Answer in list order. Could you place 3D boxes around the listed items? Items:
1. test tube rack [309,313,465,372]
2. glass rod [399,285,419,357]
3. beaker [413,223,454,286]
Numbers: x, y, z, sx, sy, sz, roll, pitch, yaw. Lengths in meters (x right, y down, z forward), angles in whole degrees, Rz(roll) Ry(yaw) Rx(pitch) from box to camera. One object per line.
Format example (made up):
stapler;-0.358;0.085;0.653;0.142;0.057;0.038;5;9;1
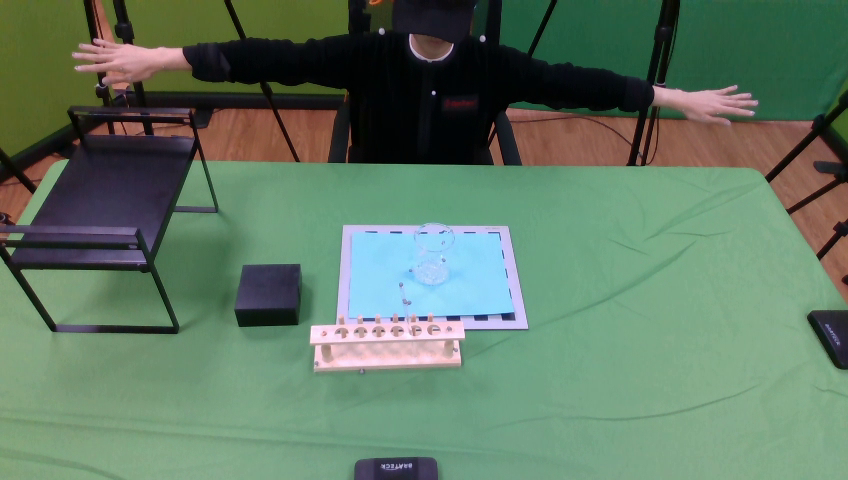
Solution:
test tube rack;-0.059;0.161;0.990;0.242;0.085;0.066;-1;46;-5
glass rod;-0.022;0.129;0.932;0.008;0.201;0.008;-4;49;5
beaker;0.018;0.027;1.110;0.073;0.101;0.084;37;54;28
